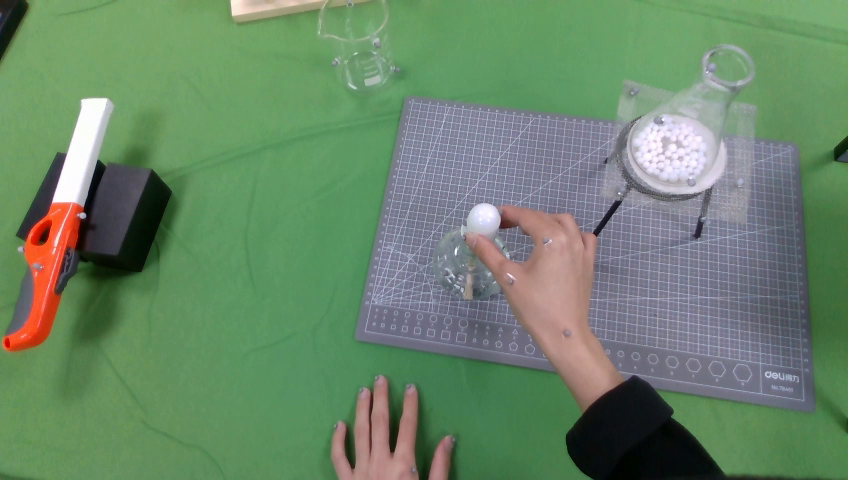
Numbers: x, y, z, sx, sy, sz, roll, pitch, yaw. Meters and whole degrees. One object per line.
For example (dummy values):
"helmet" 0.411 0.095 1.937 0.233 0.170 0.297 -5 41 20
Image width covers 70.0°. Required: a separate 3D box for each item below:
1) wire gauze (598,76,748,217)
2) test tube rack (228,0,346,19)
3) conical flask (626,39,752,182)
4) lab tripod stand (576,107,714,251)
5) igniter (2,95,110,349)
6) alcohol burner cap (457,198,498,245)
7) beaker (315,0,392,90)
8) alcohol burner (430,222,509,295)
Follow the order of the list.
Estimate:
"wire gauze" 0.223 -0.084 0.533 0.121 0.011 0.124 14 68 4
"test tube rack" -0.131 -0.347 0.746 0.242 0.086 0.066 -11 69 -3
"conical flask" 0.212 -0.104 0.478 0.075 0.122 0.075 0 68 1
"lab tripod stand" 0.217 -0.057 0.594 0.148 0.132 0.147 0 67 0
"igniter" -0.365 -0.027 0.608 0.057 0.025 0.274 0 68 7
"alcohol burner cap" 0.048 -0.018 0.521 0.034 0.048 0.033 2 69 -4
"beaker" -0.078 -0.226 0.690 0.084 0.101 0.073 -32 70 -10
"alcohol burner" 0.045 0.011 0.583 0.078 0.120 0.077 0 67 0
